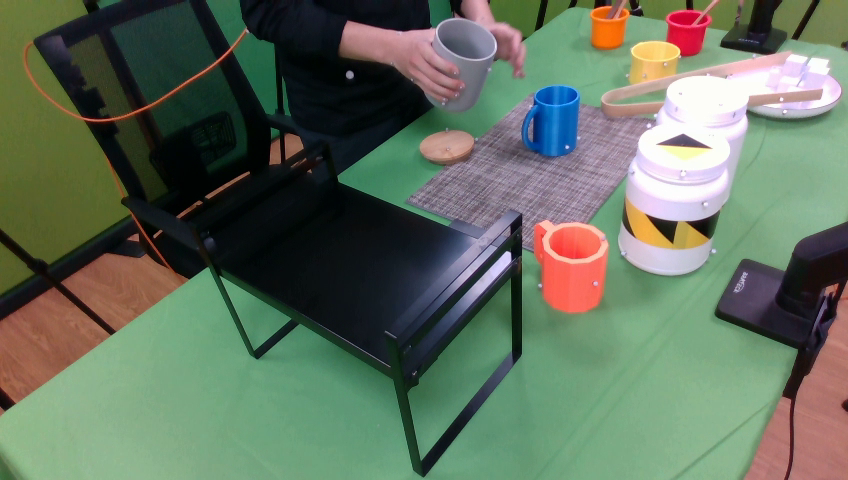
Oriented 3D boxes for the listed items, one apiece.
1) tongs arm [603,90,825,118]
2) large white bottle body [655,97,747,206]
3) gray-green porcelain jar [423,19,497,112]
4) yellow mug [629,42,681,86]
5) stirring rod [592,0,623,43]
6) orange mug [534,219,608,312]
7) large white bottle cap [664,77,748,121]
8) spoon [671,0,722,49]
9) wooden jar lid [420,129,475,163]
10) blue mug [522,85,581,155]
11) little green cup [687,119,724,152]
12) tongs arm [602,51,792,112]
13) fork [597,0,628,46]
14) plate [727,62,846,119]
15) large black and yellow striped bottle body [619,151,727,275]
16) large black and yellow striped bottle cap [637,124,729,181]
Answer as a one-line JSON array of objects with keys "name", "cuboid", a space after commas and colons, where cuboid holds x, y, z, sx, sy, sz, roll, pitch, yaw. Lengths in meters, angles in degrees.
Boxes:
[{"name": "tongs arm", "cuboid": [0.546, -0.262, 1.163, 0.386, 0.028, 0.028, -1, 49, 18]}, {"name": "large white bottle body", "cuboid": [0.430, -0.148, 0.959, 0.130, 0.185, 0.130, -4, 41, 4]}, {"name": "gray-green porcelain jar", "cuboid": [0.058, -0.295, 1.042, 0.106, 0.126, 0.105, 7, 55, -10]}, {"name": "yellow mug", "cuboid": [0.495, -0.389, 1.321, 0.100, 0.064, 0.130, -14, 40, -6]}, {"name": "stirring rod", "cuboid": [0.460, -0.557, 1.461, 0.014, 0.176, 0.006, 35, 11, 22]}, {"name": "orange mug", "cuboid": [0.200, 0.027, 0.858, 0.084, 0.101, 0.125, -24, 47, -18]}, {"name": "large white bottle cap", "cuboid": [0.421, -0.212, 0.905, 0.115, 0.018, 0.114, -4, 40, 4]}, {"name": "spoon", "cuboid": [0.639, -0.510, 1.380, 0.193, 0.022, 0.041, -49, 40, 19]}, {"name": "wooden jar lid", "cuboid": [0.047, -0.183, 1.183, 0.108, 0.021, 0.108, -6, 38, 5]}, {"name": "blue mug", "cuboid": [0.233, -0.218, 1.127, 0.117, 0.106, 0.081, -23, 43, -16]}, {"name": "little green cup", "cuboid": [0.514, -0.191, 1.109, 0.061, 0.039, 0.061, -5, 40, 5]}, {"name": "tongs arm", "cuboid": [0.552, -0.320, 1.224, 0.384, 0.027, 0.050, -10, 43, 7]}, {"name": "fork", "cuboid": [0.479, -0.558, 1.455, 0.028, 0.019, 0.207, 35, 100, 38]}, {"name": "plate", "cuboid": [0.709, -0.292, 1.197, 0.207, 0.039, 0.206, -4, 40, 4]}, {"name": "large black and yellow striped bottle body", "cuboid": [0.354, -0.056, 0.865, 0.131, 0.185, 0.130, -4, 41, 4]}, {"name": "large black and yellow striped bottle cap", "cuboid": [0.346, -0.119, 0.810, 0.115, 0.019, 0.114, -5, 41, 5]}]
